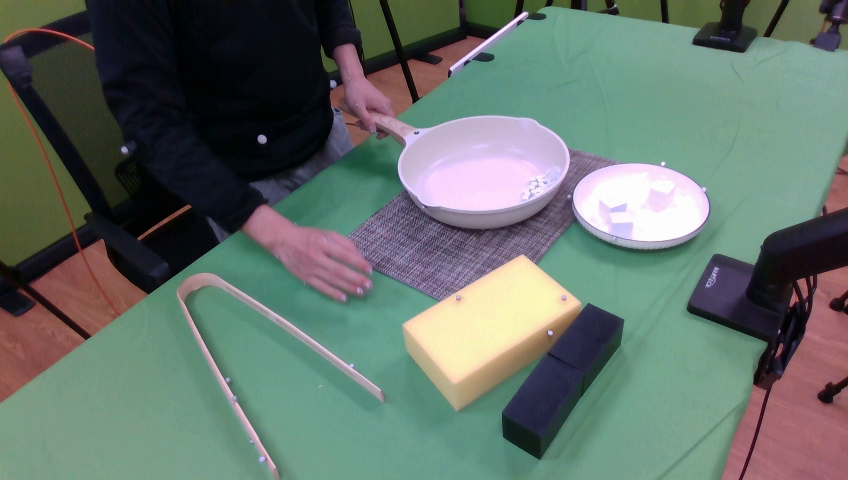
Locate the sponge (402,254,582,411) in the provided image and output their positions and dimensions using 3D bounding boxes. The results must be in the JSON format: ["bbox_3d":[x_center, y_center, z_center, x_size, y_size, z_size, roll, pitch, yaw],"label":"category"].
[{"bbox_3d":[0.089,0.114,0.791,0.208,0.061,0.117,-28,48,-23],"label":"sponge"}]

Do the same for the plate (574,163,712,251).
[{"bbox_3d":[0.344,-0.050,0.966,0.207,0.039,0.206,-4,40,4],"label":"plate"}]

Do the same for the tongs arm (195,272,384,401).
[{"bbox_3d":[-0.199,0.125,0.846,0.384,0.028,0.028,25,53,32],"label":"tongs arm"}]

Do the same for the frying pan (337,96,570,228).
[{"bbox_3d":[0.023,-0.167,1.090,0.484,0.103,0.308,32,52,26],"label":"frying pan"}]

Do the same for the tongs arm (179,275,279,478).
[{"bbox_3d":[-0.260,0.162,0.807,0.051,0.026,0.381,-29,44,-24],"label":"tongs arm"}]
